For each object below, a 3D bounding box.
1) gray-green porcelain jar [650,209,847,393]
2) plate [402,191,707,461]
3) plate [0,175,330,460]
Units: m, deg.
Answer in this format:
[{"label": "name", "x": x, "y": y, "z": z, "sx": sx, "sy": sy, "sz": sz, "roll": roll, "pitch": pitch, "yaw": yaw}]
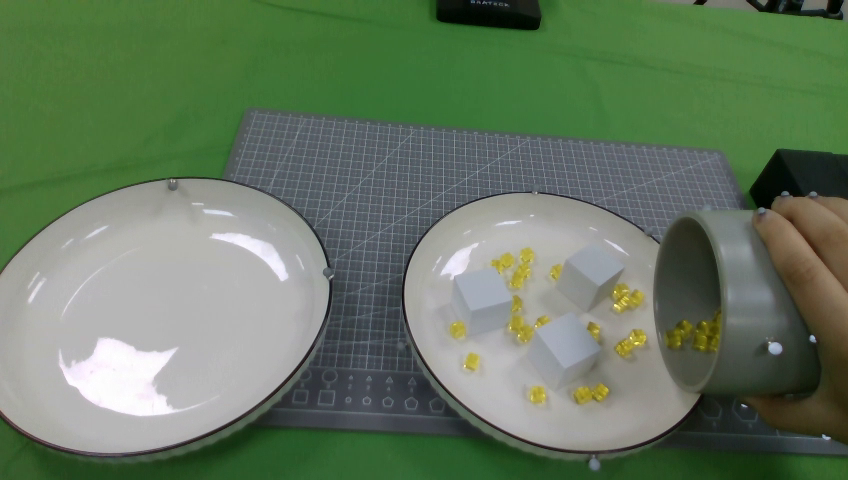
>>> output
[{"label": "gray-green porcelain jar", "x": 0.210, "y": 0.035, "z": 0.349, "sx": 0.126, "sy": 0.107, "sz": 0.105, "roll": 1, "pitch": 49, "yaw": 2}, {"label": "plate", "x": 0.088, "y": 0.052, "z": 0.414, "sx": 0.208, "sy": 0.039, "sz": 0.205, "roll": 4, "pitch": 49, "yaw": -4}, {"label": "plate", "x": -0.164, "y": 0.043, "z": 0.388, "sx": 0.209, "sy": 0.038, "sz": 0.207, "roll": 3, "pitch": 50, "yaw": -3}]
